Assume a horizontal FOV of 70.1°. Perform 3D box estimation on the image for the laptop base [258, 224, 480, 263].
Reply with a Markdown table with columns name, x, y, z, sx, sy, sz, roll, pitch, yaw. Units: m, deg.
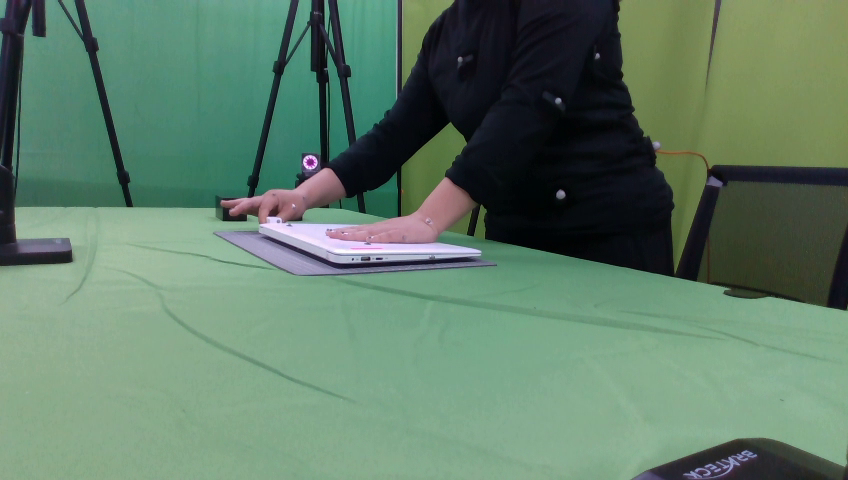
| name | x | y | z | sx | sy | sz | roll | pitch | yaw |
| --- | --- | --- | --- | --- | --- | --- | --- | --- | --- |
| laptop base | -0.103 | 0.007 | 0.961 | 0.237 | 0.023 | 0.352 | 4 | 5 | -32 |

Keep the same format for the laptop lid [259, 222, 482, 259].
| name | x | y | z | sx | sy | sz | roll | pitch | yaw |
| --- | --- | --- | --- | --- | --- | --- | --- | --- | --- |
| laptop lid | -0.101 | -0.002 | 0.961 | 0.243 | 0.013 | 0.355 | 2 | 7 | -30 |

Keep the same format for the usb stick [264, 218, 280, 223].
| name | x | y | z | sx | sy | sz | roll | pitch | yaw |
| --- | --- | --- | --- | --- | --- | --- | --- | --- | --- |
| usb stick | -0.271 | -0.027 | 1.084 | 0.021 | 0.027 | 0.059 | -4 | 8 | -24 |
